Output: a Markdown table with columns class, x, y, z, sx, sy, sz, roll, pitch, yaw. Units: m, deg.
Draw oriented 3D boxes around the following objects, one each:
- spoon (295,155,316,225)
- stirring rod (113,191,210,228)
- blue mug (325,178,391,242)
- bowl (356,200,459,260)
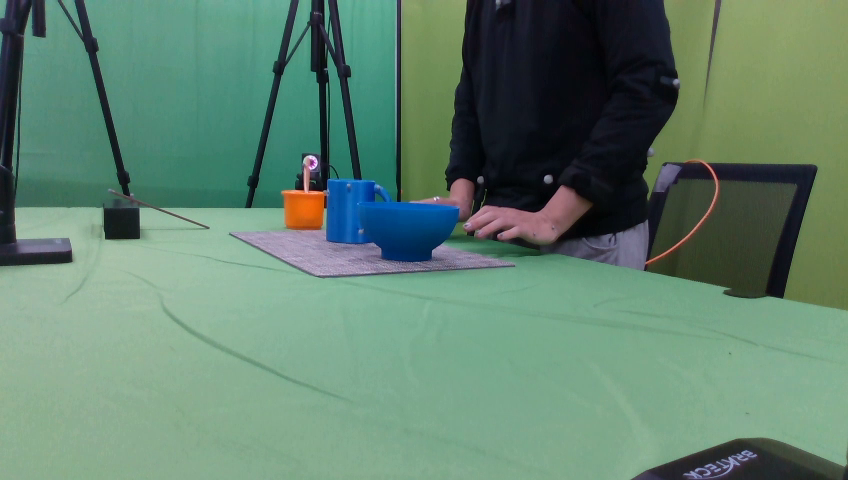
| class | x | y | z | sx | sy | sz | roll | pitch | yaw |
| --- | --- | --- | --- | --- | --- | --- | --- | --- | --- |
| spoon | -0.247 | -0.108 | 1.262 | 0.042 | 0.021 | 0.193 | 5 | 46 | -16 |
| stirring rod | -0.484 | -0.055 | 1.121 | 0.177 | 0.006 | 0.014 | 22 | -6 | -22 |
| blue mug | -0.111 | -0.052 | 1.034 | 0.116 | 0.106 | 0.082 | 3 | 7 | 7 |
| bowl | -0.025 | -0.015 | 0.877 | 0.151 | 0.077 | 0.151 | 2 | 7 | 0 |
